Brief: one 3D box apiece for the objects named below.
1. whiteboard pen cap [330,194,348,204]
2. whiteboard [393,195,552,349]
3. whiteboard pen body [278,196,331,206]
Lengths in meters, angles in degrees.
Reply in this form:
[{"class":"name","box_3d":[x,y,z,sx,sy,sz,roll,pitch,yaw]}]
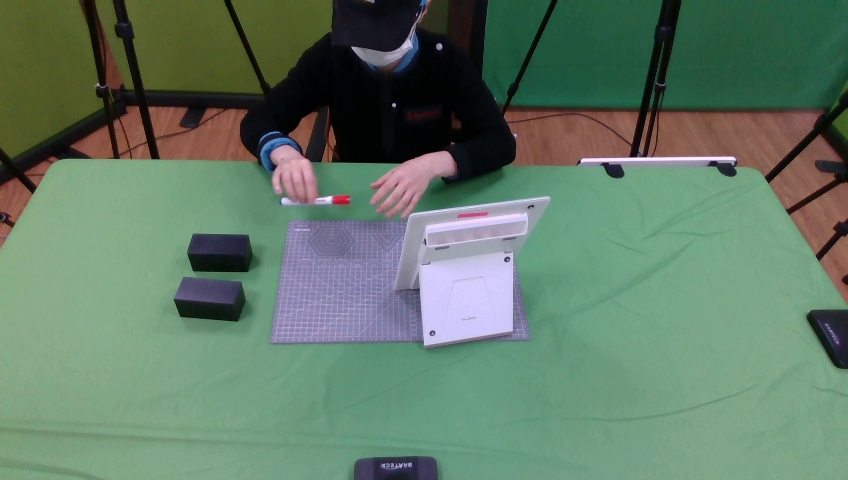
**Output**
[{"class":"whiteboard pen cap","box_3d":[-0.156,-0.075,1.108,0.032,0.017,0.017,3,43,23]},{"class":"whiteboard","box_3d":[0.077,0.071,0.977,0.217,0.306,0.143,-7,66,-11]},{"class":"whiteboard pen body","box_3d":[-0.211,-0.074,1.131,0.140,0.017,0.017,-1,43,22]}]
